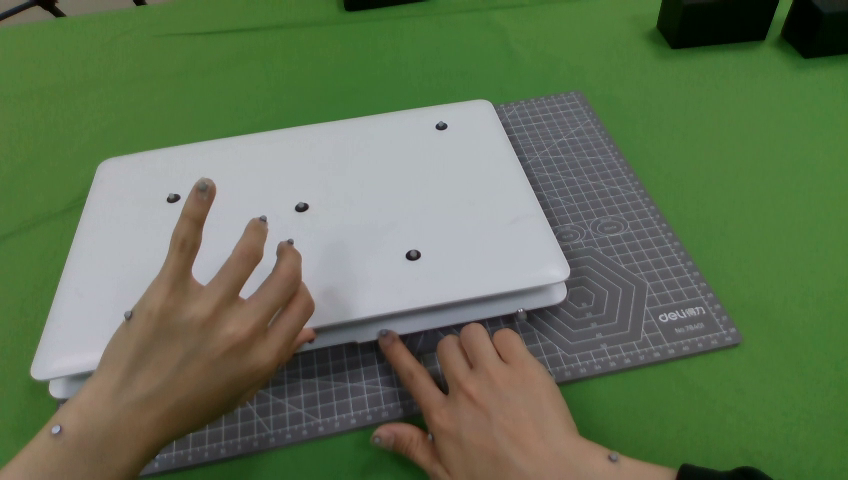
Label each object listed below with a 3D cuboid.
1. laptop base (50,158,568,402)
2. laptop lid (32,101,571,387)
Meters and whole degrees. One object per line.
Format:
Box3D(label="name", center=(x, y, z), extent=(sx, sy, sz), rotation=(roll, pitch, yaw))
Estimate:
Box3D(label="laptop base", center=(-0.091, -0.007, 0.482), extent=(0.355, 0.023, 0.233), rotation=(-10, 51, -5))
Box3D(label="laptop lid", center=(-0.092, -0.019, 0.465), extent=(0.357, 0.013, 0.239), rotation=(-9, 45, -3))
